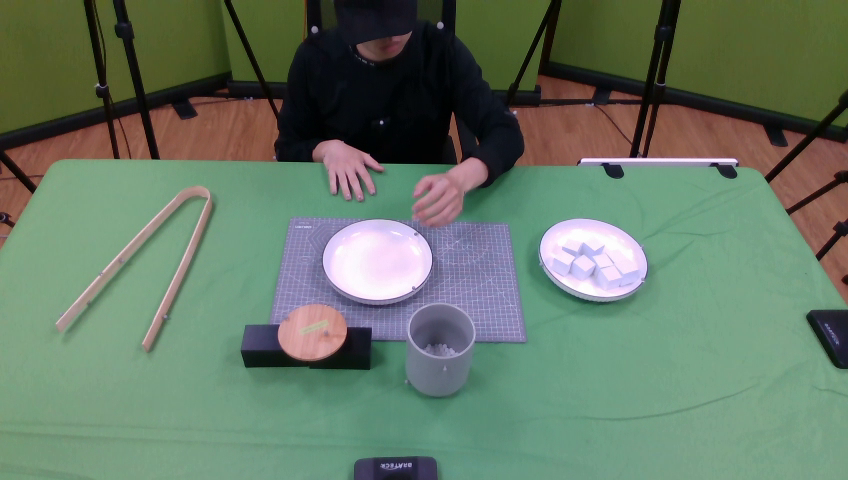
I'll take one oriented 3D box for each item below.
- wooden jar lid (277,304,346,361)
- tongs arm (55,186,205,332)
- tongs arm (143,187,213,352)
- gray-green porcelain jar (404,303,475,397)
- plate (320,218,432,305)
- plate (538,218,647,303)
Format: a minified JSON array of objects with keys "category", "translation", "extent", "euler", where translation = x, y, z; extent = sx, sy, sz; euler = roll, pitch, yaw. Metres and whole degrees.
[{"category":"wooden jar lid","translation":[-0.179,0.150,0.972],"extent":[0.108,0.021,0.107],"euler":[2,45,-2]},{"category":"tongs arm","translation":[-0.530,0.022,1.125],"extent":[0.051,0.026,0.383],"euler":[15,46,8]},{"category":"tongs arm","translation":[-0.449,0.040,1.121],"extent":[0.028,0.028,0.385],"euler":[2,46,1]},{"category":"gray-green porcelain jar","translation":[0.022,0.178,0.956],"extent":[0.106,0.127,0.105],"euler":[2,46,-2]},{"category":"plate","translation":[-0.089,0.044,1.134],"extent":[0.209,0.038,0.208],"euler":[3,46,-2]},{"category":"plate","translation":[0.322,0.042,1.171],"extent":[0.208,0.039,0.206],"euler":[2,46,-2]}]
